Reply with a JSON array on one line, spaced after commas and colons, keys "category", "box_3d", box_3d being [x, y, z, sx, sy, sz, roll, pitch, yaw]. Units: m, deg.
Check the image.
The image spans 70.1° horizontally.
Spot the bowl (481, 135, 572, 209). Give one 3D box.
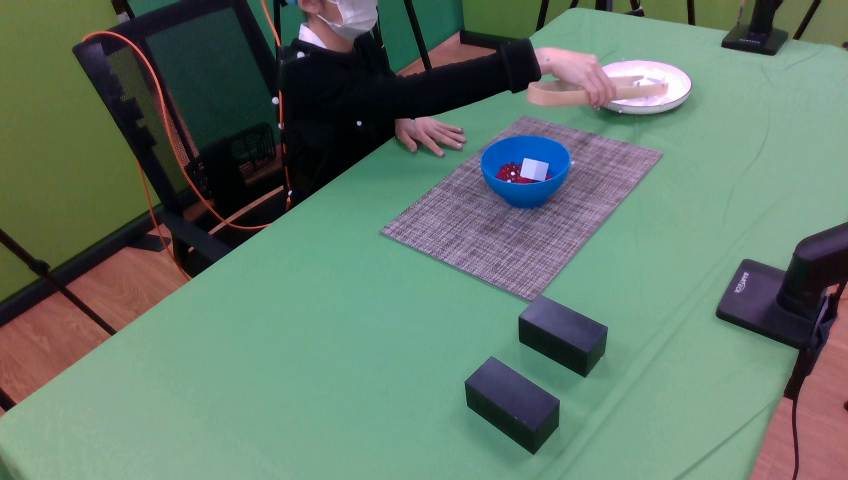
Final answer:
[{"category": "bowl", "box_3d": [0.172, -0.106, 1.025, 0.151, 0.077, 0.150, -4, 40, 4]}]

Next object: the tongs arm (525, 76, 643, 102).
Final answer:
[{"category": "tongs arm", "box_3d": [0.316, -0.294, 1.157, 0.390, 0.028, 0.028, -16, 42, -39]}]

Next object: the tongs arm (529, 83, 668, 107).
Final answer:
[{"category": "tongs arm", "box_3d": [0.339, -0.277, 1.134, 0.387, 0.026, 0.050, -16, 39, -39]}]

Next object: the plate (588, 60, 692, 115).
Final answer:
[{"category": "plate", "box_3d": [0.445, -0.313, 1.263, 0.209, 0.038, 0.208, -5, 40, 4]}]
